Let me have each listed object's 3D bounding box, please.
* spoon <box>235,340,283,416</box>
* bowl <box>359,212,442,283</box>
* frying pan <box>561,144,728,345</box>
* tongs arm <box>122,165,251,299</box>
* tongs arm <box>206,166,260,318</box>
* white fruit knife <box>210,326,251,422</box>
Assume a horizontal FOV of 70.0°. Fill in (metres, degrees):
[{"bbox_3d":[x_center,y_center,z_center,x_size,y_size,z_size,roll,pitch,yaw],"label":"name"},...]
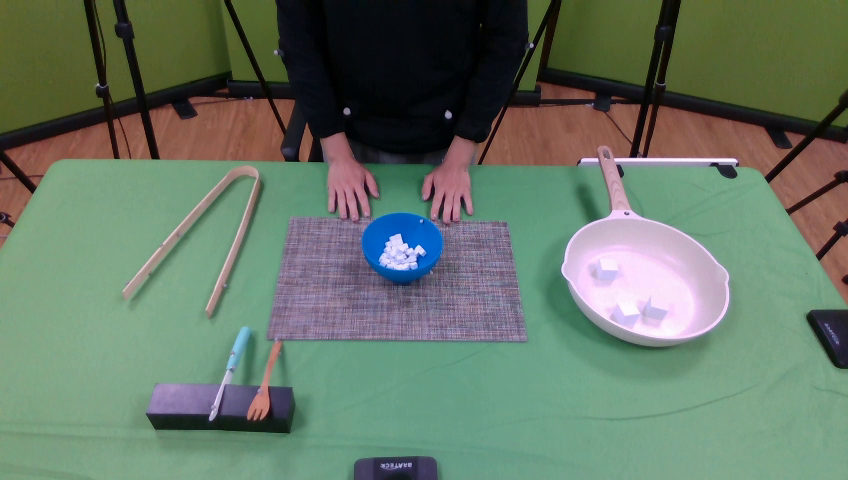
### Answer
[{"bbox_3d":[-0.244,0.207,0.932,0.042,0.022,0.193,28,25,-8],"label":"spoon"},{"bbox_3d":[-0.044,0.026,1.125,0.151,0.077,0.150,2,46,-2],"label":"bowl"},{"bbox_3d":[0.397,-0.008,1.179,0.307,0.103,0.485,2,55,-4],"label":"frying pan"},{"bbox_3d":[-0.447,-0.027,1.179,0.051,0.026,0.383,14,46,8],"label":"tongs arm"},{"bbox_3d":[-0.367,-0.010,1.175,0.028,0.028,0.385,2,46,1],"label":"tongs arm"},{"bbox_3d":[-0.300,0.201,0.941,0.016,0.027,0.206,-2,32,1],"label":"white fruit knife"}]
